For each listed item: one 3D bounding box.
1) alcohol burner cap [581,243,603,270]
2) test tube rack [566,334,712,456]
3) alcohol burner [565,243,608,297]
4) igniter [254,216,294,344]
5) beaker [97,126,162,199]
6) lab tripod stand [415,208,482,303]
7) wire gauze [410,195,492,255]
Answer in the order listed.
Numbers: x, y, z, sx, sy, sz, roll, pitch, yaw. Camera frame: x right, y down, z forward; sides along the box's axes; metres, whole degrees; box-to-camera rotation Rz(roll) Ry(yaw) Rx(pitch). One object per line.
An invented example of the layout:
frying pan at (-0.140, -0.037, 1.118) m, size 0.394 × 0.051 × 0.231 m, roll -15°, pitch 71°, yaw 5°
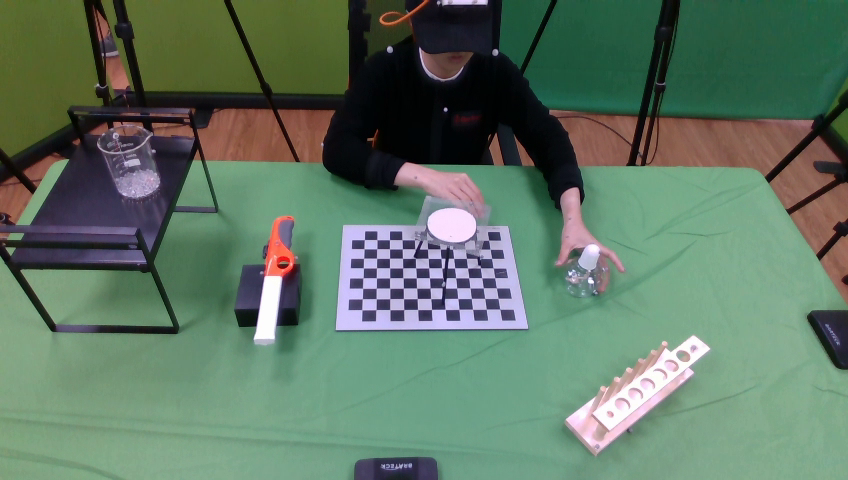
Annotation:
alcohol burner cap at (0.302, 0.026, 1.082) m, size 0.034 × 0.048 × 0.033 m, roll 4°, pitch 45°, yaw -4°
test tube rack at (0.338, 0.228, 0.950) m, size 0.242 × 0.085 × 0.066 m, roll -26°, pitch 52°, yaw -26°
alcohol burner at (0.299, 0.048, 1.103) m, size 0.078 × 0.119 × 0.077 m, roll 3°, pitch 45°, yaw -3°
igniter at (-0.258, 0.059, 1.051) m, size 0.057 × 0.025 × 0.274 m, roll 2°, pitch 47°, yaw -6°
beaker at (-0.468, -0.124, 0.979) m, size 0.084 × 0.101 × 0.073 m, roll -25°, pitch 53°, yaw -26°
lab tripod stand at (0.043, 0.018, 1.097) m, size 0.148 × 0.132 × 0.147 m, roll 1°, pitch 46°, yaw 0°
wire gauze at (0.049, -0.031, 1.051) m, size 0.125 × 0.011 × 0.121 m, roll 12°, pitch 47°, yaw 9°
